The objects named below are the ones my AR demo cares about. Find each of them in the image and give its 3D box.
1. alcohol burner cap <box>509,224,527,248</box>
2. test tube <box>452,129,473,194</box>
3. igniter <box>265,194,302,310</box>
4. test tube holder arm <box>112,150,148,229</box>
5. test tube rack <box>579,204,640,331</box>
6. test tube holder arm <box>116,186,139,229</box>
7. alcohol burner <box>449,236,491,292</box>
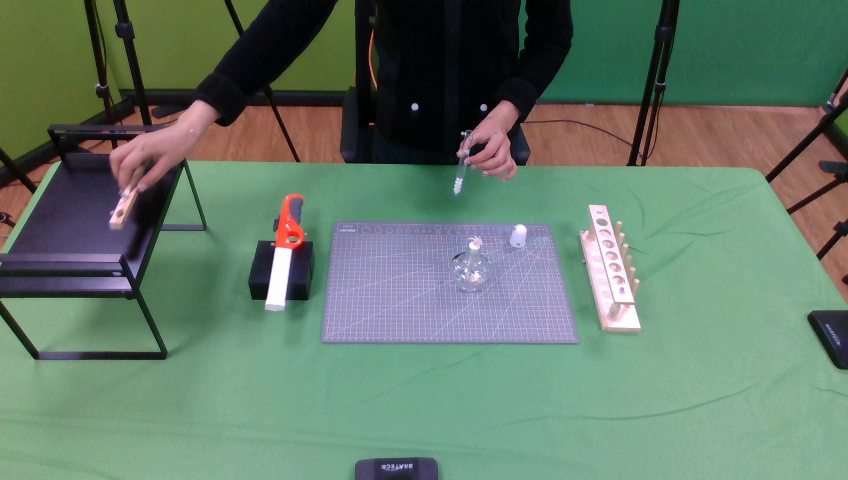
[{"bbox_3d":[0.189,-0.011,1.206,0.034,0.048,0.033,2,45,-2],"label":"alcohol burner cap"},{"bbox_3d":[0.071,-0.143,1.129,0.017,0.151,0.017,5,47,-5],"label":"test tube"},{"bbox_3d":[-0.253,0.011,1.099,0.057,0.025,0.274,9,46,-12],"label":"igniter"},{"bbox_3d":[-0.459,-0.084,0.951,0.013,0.015,0.177,15,42,-21],"label":"test tube holder arm"},{"bbox_3d":[0.353,0.047,1.137,0.067,0.085,0.241,2,46,-2],"label":"test tube rack"},{"bbox_3d":[-0.451,-0.051,0.921,0.010,0.015,0.087,17,41,-20],"label":"test tube holder arm"},{"bbox_3d":[0.086,0.038,1.101,0.078,0.119,0.077,3,44,-2],"label":"alcohol burner"}]
